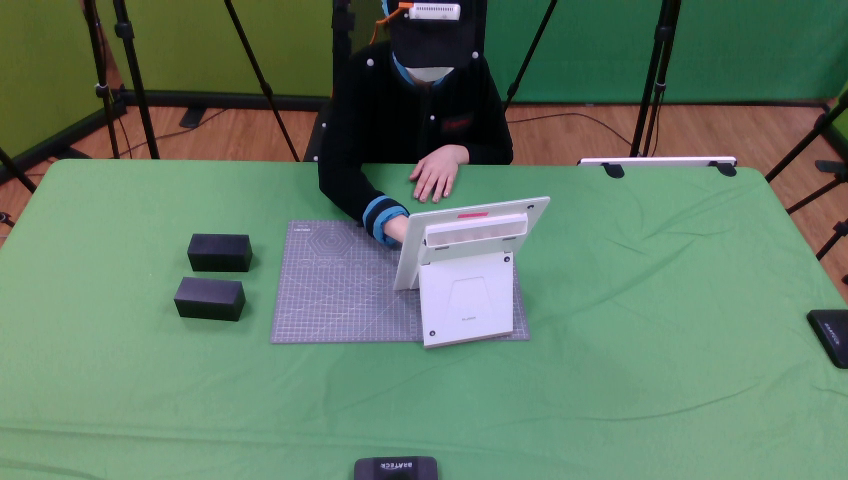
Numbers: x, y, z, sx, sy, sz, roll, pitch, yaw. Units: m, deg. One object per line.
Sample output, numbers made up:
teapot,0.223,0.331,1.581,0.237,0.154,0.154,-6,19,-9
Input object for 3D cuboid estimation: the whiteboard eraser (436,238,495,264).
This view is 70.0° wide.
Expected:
whiteboard eraser,0.071,0.019,1.048,0.101,0.041,0.018,-14,65,9

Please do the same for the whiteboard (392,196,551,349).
whiteboard,0.077,0.071,0.977,0.217,0.306,0.143,-7,67,-11
